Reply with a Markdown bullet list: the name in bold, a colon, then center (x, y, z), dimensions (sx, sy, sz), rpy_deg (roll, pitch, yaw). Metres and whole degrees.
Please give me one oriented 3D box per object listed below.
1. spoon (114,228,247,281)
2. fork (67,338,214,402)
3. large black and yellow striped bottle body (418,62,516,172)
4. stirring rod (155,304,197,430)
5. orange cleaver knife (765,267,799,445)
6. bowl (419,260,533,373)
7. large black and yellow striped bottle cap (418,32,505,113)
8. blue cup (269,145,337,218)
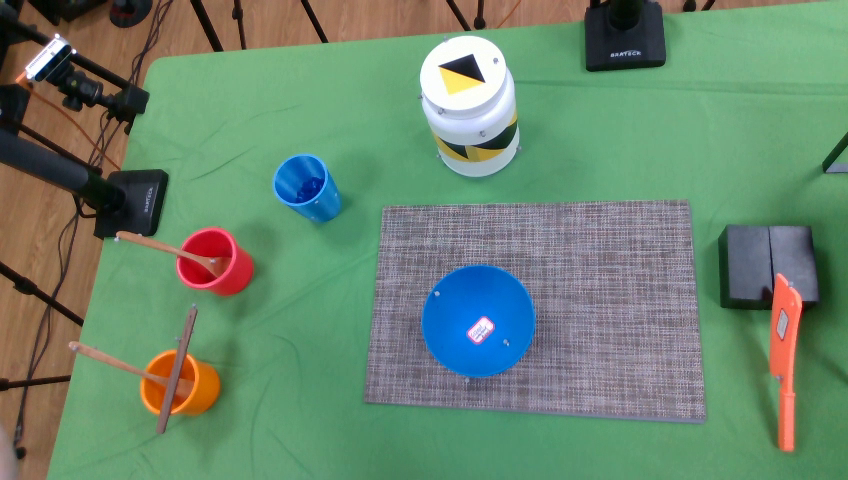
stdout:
- **spoon**: center (-0.363, 0.017, 0.914), dimensions (0.195, 0.021, 0.041), rpy_deg (23, 70, -26)
- **fork**: center (-0.398, 0.183, 0.858), dimensions (0.209, 0.018, 0.028), rpy_deg (30, 85, -25)
- **large black and yellow striped bottle body**: center (0.064, -0.194, 0.876), dimensions (0.130, 0.185, 0.130), rpy_deg (-4, 69, 11)
- **stirring rod**: center (-0.347, 0.175, 0.848), dimensions (0.014, 0.006, 0.175), rpy_deg (6, 72, 11)
- **orange cleaver knife**: center (0.430, 0.140, 0.733), dimensions (0.012, 0.077, 0.212), rpy_deg (-2, 100, 8)
- **bowl**: center (0.074, 0.110, 0.819), dimensions (0.151, 0.077, 0.150), rpy_deg (-4, 70, 11)
- **large black and yellow striped bottle cap**: center (0.048, -0.222, 0.798), dimensions (0.115, 0.019, 0.114), rpy_deg (-4, 71, 12)
- **blue cup**: center (-0.177, -0.078, 0.931), dimensions (0.092, 0.101, 0.092), rpy_deg (-3, 72, 9)
